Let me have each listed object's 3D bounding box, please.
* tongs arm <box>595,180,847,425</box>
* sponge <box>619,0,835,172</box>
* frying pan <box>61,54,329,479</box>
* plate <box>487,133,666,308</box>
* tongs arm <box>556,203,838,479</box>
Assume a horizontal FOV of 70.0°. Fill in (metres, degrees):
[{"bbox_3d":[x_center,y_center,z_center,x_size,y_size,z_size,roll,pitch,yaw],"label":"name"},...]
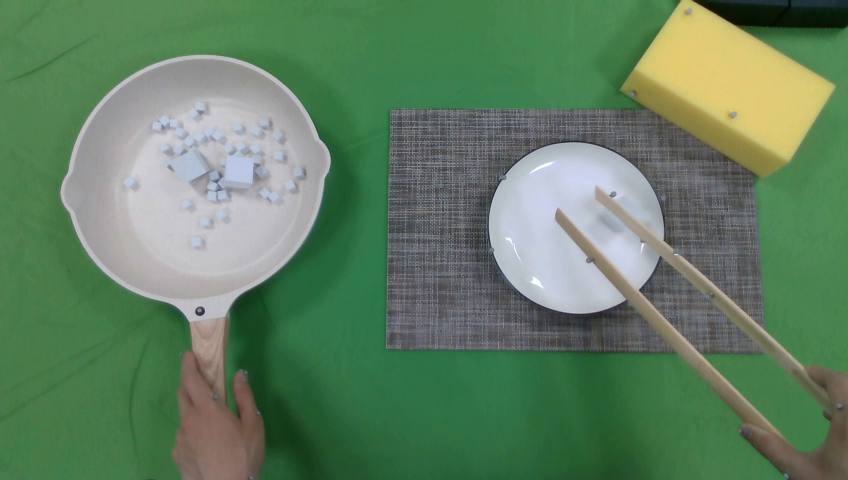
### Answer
[{"bbox_3d":[0.277,0.073,0.566,0.051,0.027,0.380,-32,56,-12],"label":"tongs arm"},{"bbox_3d":[0.362,-0.191,0.736,0.206,0.061,0.118,33,81,7],"label":"sponge"},{"bbox_3d":[-0.246,0.028,0.688,0.307,0.103,0.484,-8,73,0],"label":"frying pan"},{"bbox_3d":[0.177,-0.022,0.722,0.208,0.039,0.207,0,82,1],"label":"plate"},{"bbox_3d":[0.248,0.089,0.561,0.028,0.028,0.383,-29,55,-14],"label":"tongs arm"}]
